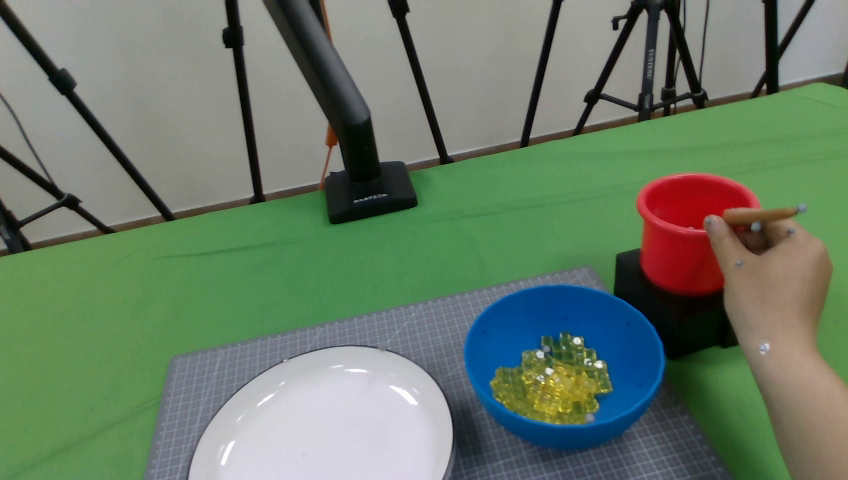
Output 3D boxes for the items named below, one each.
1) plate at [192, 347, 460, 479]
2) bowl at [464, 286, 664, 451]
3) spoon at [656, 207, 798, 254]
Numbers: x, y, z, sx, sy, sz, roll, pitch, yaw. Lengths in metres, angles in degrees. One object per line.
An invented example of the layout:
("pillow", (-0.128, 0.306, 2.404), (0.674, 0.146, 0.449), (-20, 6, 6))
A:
("plate", (-0.074, 0.172, 0.481), (0.207, 0.039, 0.205), (-6, 35, 5))
("bowl", (0.110, 0.114, 0.486), (0.151, 0.077, 0.150), (-6, 35, 5))
("spoon", (0.236, -0.008, 0.488), (0.041, 0.194, 0.021), (-9, 80, -1))
